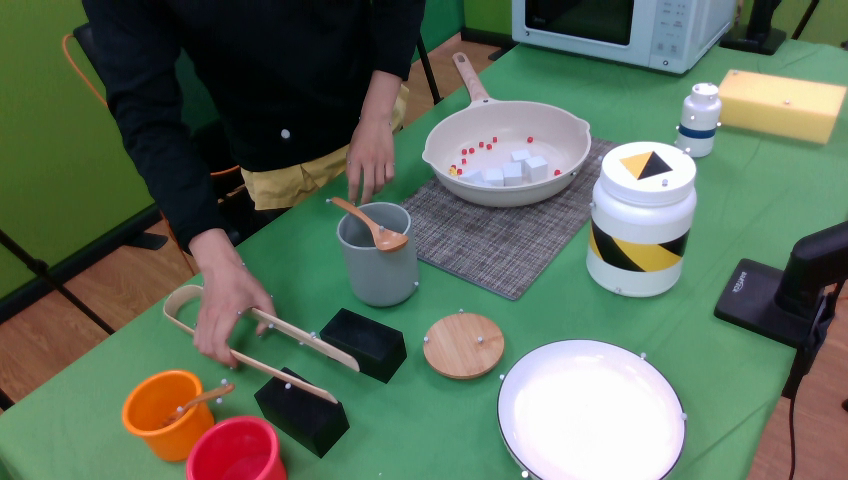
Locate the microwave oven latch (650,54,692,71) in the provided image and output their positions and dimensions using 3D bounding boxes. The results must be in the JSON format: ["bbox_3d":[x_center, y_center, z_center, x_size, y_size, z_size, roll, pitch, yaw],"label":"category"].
[{"bbox_3d":[0.530,-0.386,1.301,0.078,0.029,0.030,23,50,32],"label":"microwave oven latch"}]

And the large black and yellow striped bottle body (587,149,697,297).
[{"bbox_3d":[0.298,-0.026,0.835,0.131,0.185,0.130,-4,41,4],"label":"large black and yellow striped bottle body"}]

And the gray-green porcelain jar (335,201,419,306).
[{"bbox_3d":[-0.064,0.024,0.872,0.106,0.127,0.105,-4,41,4],"label":"gray-green porcelain jar"}]

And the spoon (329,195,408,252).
[{"bbox_3d":[-0.082,-0.029,0.828,0.042,0.022,0.192,-31,43,-20],"label":"spoon"}]

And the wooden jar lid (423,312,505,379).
[{"bbox_3d":[0.053,0.142,0.800,0.108,0.021,0.108,-5,39,4],"label":"wooden jar lid"}]

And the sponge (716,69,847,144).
[{"bbox_3d":[0.663,-0.256,1.142,0.205,0.061,0.118,19,47,28],"label":"sponge"}]

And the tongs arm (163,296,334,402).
[{"bbox_3d":[-0.246,0.136,0.788,0.384,0.028,0.028,14,54,40],"label":"tongs arm"}]

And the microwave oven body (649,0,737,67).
[{"bbox_3d":[0.475,-0.602,1.411,0.438,0.261,0.327,23,50,32],"label":"microwave oven body"}]

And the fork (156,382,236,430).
[{"bbox_3d":[-0.262,0.189,0.690,0.018,0.206,0.028,49,43,-7],"label":"fork"}]

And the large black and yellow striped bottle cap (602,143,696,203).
[{"bbox_3d":[0.289,-0.088,0.779,0.115,0.019,0.114,-5,40,4],"label":"large black and yellow striped bottle cap"}]

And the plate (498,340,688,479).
[{"bbox_3d":[0.189,0.206,0.692,0.207,0.039,0.206,-4,40,4],"label":"plate"}]

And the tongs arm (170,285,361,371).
[{"bbox_3d":[-0.228,0.116,0.804,0.381,0.027,0.051,16,52,41],"label":"tongs arm"}]

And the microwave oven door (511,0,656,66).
[{"bbox_3d":[0.350,-0.539,1.348,0.353,0.245,0.039,24,50,31],"label":"microwave oven door"}]

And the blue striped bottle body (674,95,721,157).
[{"bbox_3d":[0.486,-0.213,1.072,0.063,0.121,0.063,-4,41,4],"label":"blue striped bottle body"}]

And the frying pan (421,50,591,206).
[{"bbox_3d":[0.127,-0.233,1.155,0.307,0.103,0.484,-11,49,-5],"label":"frying pan"}]

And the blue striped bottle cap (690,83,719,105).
[{"bbox_3d":[0.481,-0.251,1.038,0.044,0.021,0.044,-5,39,5],"label":"blue striped bottle cap"}]
